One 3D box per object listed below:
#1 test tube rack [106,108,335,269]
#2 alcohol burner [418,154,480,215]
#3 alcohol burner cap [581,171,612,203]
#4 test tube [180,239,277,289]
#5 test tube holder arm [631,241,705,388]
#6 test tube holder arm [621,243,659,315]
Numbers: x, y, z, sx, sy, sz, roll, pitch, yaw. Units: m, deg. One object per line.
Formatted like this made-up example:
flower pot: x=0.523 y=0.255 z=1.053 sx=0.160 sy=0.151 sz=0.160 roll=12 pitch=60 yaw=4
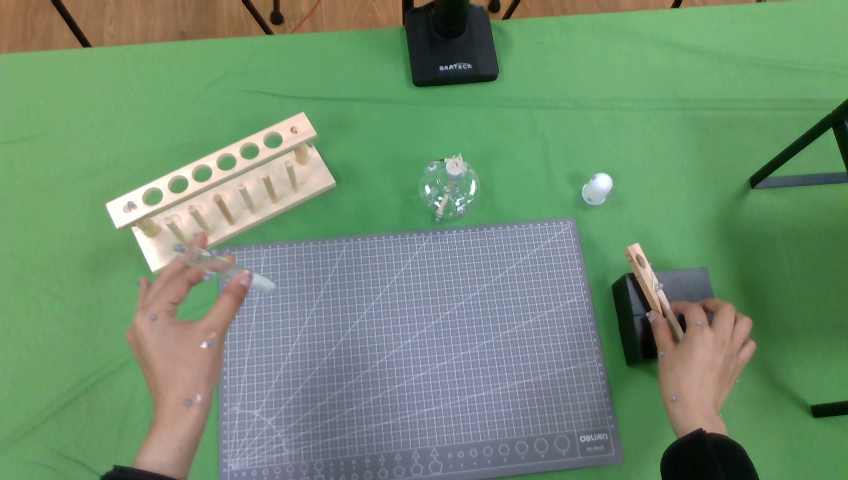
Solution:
test tube rack: x=-0.233 y=-0.060 z=0.725 sx=0.242 sy=0.085 sz=0.066 roll=-28 pitch=74 yaw=-12
alcohol burner: x=0.032 y=-0.075 z=0.732 sx=0.078 sy=0.119 sz=0.077 roll=1 pitch=72 yaw=-4
alcohol burner cap: x=0.224 y=-0.070 z=0.780 sx=0.034 sy=0.048 sz=0.033 roll=1 pitch=71 yaw=-2
test tube: x=-0.163 y=0.024 z=0.524 sx=0.017 sy=0.151 sz=0.017 roll=-2 pitch=76 yaw=10
test tube holder arm: x=0.276 y=0.084 z=0.695 sx=0.013 sy=0.015 sz=0.177 roll=-21 pitch=76 yaw=-9
test tube holder arm: x=0.254 y=0.045 z=0.705 sx=0.010 sy=0.015 sz=0.087 roll=-20 pitch=76 yaw=-8
